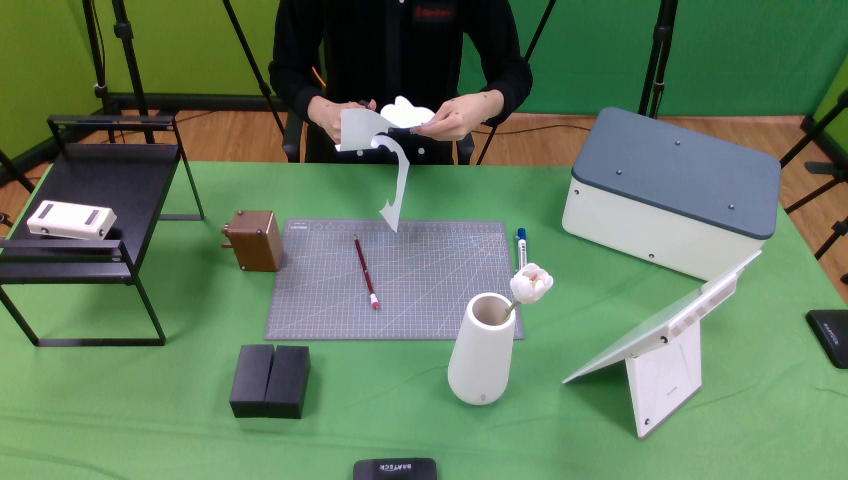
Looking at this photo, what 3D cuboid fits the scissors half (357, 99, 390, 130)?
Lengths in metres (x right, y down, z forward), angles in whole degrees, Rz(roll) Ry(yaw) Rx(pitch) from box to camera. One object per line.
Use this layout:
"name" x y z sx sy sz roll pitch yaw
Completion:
"scissors half" -0.089 -0.214 1.054 0.013 0.040 0.174 -9 27 -21

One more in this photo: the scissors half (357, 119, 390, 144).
"scissors half" -0.089 -0.193 1.059 0.013 0.040 0.174 -3 4 -22

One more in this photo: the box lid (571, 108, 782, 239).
"box lid" 0.491 -0.139 1.168 0.370 0.015 0.262 20 49 15

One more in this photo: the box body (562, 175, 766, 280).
"box body" 0.486 -0.088 1.222 0.363 0.161 0.253 20 48 15

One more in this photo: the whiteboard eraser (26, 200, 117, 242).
"whiteboard eraser" -0.532 -0.026 0.919 0.113 0.042 0.055 7 45 3

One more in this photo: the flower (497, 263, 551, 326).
"flower" 0.102 0.121 0.852 0.044 0.363 0.038 -2 64 -10

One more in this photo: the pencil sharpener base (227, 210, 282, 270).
"pencil sharpener base" -0.311 0.001 1.112 0.077 0.107 0.061 1 47 1

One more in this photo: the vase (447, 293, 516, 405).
"vase" 0.091 0.168 0.921 0.098 0.201 0.097 3 47 -3

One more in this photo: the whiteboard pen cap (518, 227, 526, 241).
"whiteboard pen cap" 0.197 -0.009 1.220 0.018 0.018 0.033 5 51 1

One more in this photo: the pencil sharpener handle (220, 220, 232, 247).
"pencil sharpener handle" -0.362 -0.009 1.105 0.030 0.068 0.036 1 52 1

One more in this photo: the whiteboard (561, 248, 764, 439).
"whiteboard" 0.386 0.176 0.905 0.217 0.306 0.143 -26 72 -27

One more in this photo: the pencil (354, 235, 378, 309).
"pencil" -0.113 0.055 1.143 0.012 0.012 0.192 -10 46 -13

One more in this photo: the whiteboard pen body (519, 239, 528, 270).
"whiteboard pen body" 0.193 0.035 1.181 0.017 0.017 0.140 6 48 1
